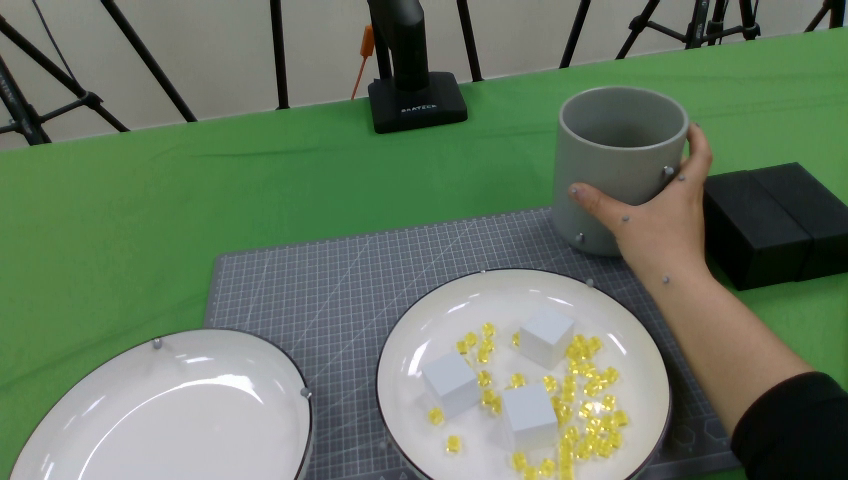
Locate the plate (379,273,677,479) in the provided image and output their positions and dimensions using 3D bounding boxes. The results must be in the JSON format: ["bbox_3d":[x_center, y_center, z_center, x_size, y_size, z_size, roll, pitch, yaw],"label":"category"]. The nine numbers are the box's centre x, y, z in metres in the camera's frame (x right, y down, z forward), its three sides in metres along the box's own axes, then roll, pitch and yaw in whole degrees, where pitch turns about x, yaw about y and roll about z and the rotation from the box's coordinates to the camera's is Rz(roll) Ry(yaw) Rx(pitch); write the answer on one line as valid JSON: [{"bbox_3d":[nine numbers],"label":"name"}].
[{"bbox_3d":[0.072,0.108,0.444,0.207,0.039,0.205,-3,41,3],"label":"plate"}]

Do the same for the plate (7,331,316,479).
[{"bbox_3d":[-0.176,0.154,0.422,0.209,0.038,0.207,-4,42,4],"label":"plate"}]

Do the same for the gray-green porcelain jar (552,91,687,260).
[{"bbox_3d":[0.170,-0.054,0.547,0.106,0.128,0.105,-4,41,4],"label":"gray-green porcelain jar"}]
